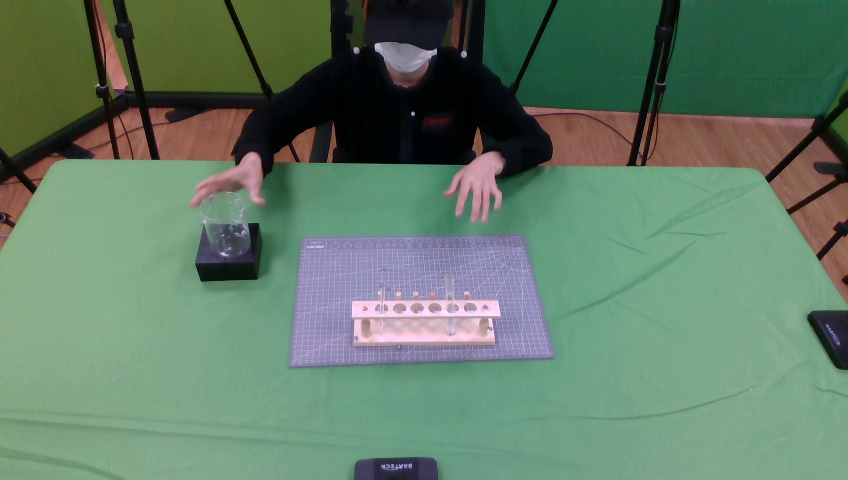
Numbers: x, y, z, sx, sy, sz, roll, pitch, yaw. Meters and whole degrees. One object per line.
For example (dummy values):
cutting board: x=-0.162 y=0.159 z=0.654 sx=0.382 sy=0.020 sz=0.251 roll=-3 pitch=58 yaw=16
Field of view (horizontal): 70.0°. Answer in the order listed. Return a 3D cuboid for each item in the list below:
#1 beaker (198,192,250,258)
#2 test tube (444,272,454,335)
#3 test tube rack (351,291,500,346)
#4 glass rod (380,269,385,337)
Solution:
beaker: x=-0.347 y=-0.023 z=1.069 sx=0.083 sy=0.101 sz=0.074 roll=33 pitch=52 yaw=23
test tube: x=0.041 y=0.106 z=0.982 sx=0.017 sy=0.151 sz=0.017 roll=-1 pitch=46 yaw=2
test tube rack: x=0.000 y=0.129 z=1.026 sx=0.242 sy=0.085 sz=0.066 roll=0 pitch=46 yaw=-4
glass rod: x=-0.066 y=0.104 z=0.953 sx=0.008 sy=0.200 sz=0.008 roll=3 pitch=53 yaw=-3
